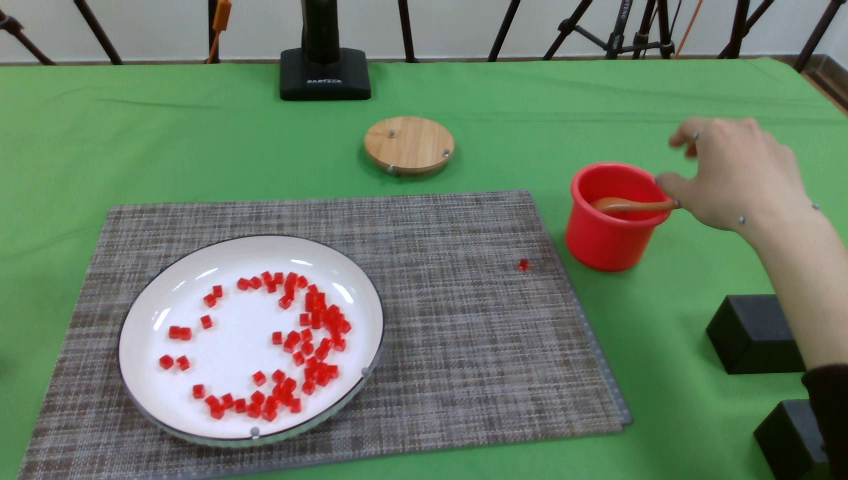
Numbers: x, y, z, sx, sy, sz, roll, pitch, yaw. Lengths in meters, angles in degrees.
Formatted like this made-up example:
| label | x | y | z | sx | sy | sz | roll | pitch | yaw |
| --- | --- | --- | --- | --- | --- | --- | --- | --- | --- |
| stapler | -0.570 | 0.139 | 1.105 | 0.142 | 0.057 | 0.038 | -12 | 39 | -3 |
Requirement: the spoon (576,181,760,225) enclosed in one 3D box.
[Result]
| label | x | y | z | sx | sy | sz | roll | pitch | yaw |
| --- | --- | --- | --- | --- | --- | --- | --- | --- | --- |
| spoon | 0.222 | -0.034 | 0.575 | 0.041 | 0.022 | 0.192 | -27 | 13 | -34 |

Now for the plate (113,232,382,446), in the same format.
| label | x | y | z | sx | sy | sz | roll | pitch | yaw |
| --- | --- | --- | --- | --- | --- | --- | --- | --- | --- |
| plate | -0.140 | 0.078 | 0.502 | 0.208 | 0.039 | 0.205 | 3 | 44 | -3 |

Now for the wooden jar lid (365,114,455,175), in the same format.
| label | x | y | z | sx | sy | sz | roll | pitch | yaw |
| --- | --- | --- | --- | --- | --- | --- | --- | --- | --- |
| wooden jar lid | -0.016 | -0.114 | 0.728 | 0.108 | 0.021 | 0.107 | 4 | 45 | -3 |
